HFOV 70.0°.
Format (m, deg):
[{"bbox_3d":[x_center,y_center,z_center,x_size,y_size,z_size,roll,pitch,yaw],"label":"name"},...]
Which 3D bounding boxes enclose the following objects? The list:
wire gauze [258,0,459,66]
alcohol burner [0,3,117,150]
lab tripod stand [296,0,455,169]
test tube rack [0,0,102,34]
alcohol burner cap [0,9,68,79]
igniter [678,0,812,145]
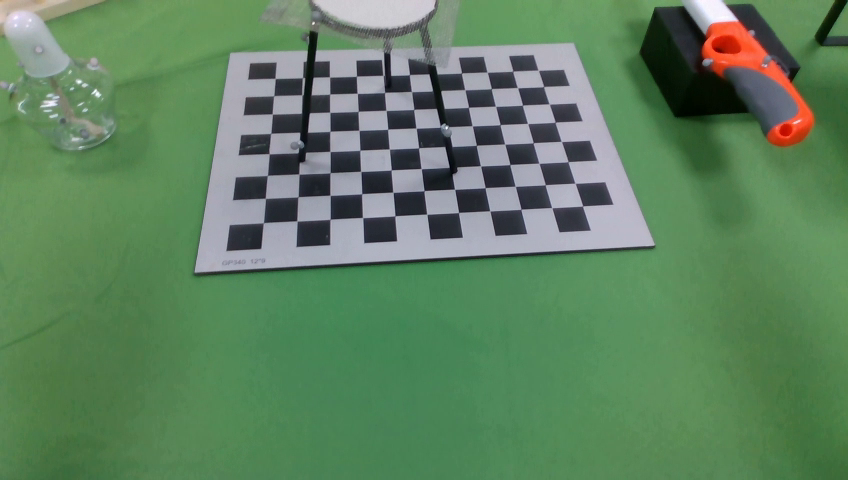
[{"bbox_3d":[-0.035,-0.169,0.415,0.125,0.011,0.120,11,52,4],"label":"wire gauze"},{"bbox_3d":[-0.292,-0.129,0.475,0.078,0.120,0.077,0,54,0],"label":"alcohol burner"},{"bbox_3d":[-0.034,-0.130,0.470,0.148,0.132,0.147,2,52,-3],"label":"lab tripod stand"},{"bbox_3d":[-0.345,-0.307,0.625,0.242,0.086,0.066,-32,61,-24],"label":"test tube rack"},{"bbox_3d":[-0.293,-0.147,0.450,0.034,0.048,0.033,-1,53,1],"label":"alcohol burner cap"},{"bbox_3d":[0.263,-0.180,0.533,0.057,0.025,0.273,-5,51,-2],"label":"igniter"}]
